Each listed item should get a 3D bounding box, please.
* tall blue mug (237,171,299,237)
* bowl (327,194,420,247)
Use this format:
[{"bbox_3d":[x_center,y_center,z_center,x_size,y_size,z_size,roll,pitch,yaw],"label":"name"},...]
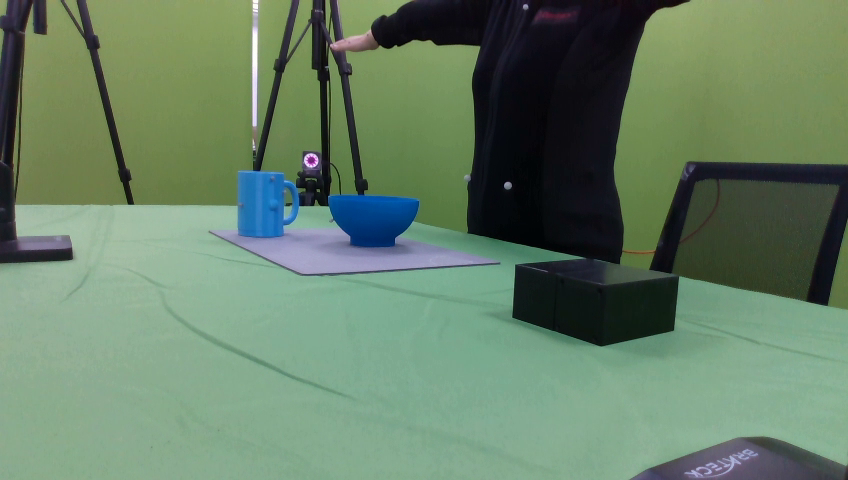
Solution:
[{"bbox_3d":[-0.276,-0.065,1.053,0.077,0.108,0.107,3,7,14],"label":"tall blue mug"},{"bbox_3d":[-0.083,-0.032,0.987,0.151,0.077,0.151,2,7,0],"label":"bowl"}]
